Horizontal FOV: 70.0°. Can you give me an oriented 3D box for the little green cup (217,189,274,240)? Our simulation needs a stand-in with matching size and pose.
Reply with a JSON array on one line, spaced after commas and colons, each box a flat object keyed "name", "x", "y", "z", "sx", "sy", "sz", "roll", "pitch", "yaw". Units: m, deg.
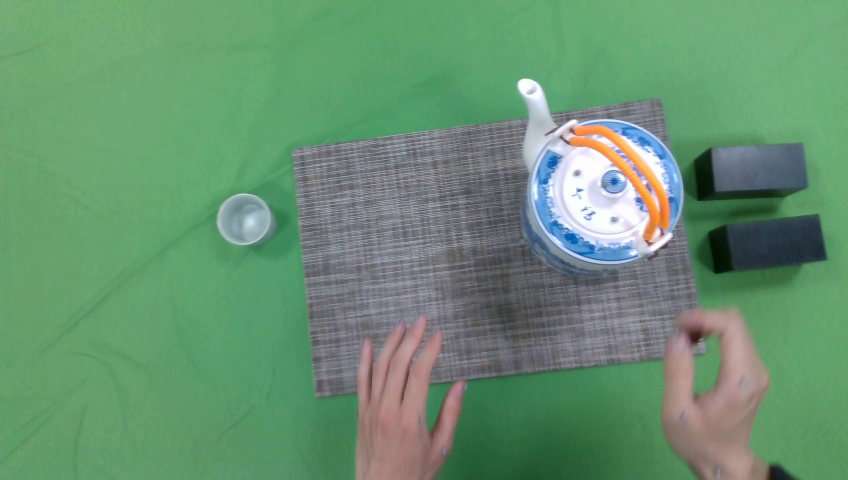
[{"name": "little green cup", "x": -0.210, "y": -0.028, "z": 0.721, "sx": 0.061, "sy": 0.039, "sz": 0.061, "roll": -1, "pitch": 82, "yaw": 4}]

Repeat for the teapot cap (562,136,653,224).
[{"name": "teapot cap", "x": 0.171, "y": -0.057, "z": 0.562, "sx": 0.085, "sy": 0.044, "sz": 0.085, "roll": -1, "pitch": 81, "yaw": 4}]

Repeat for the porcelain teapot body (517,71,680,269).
[{"name": "porcelain teapot body", "x": 0.154, "y": -0.073, "z": 0.605, "sx": 0.145, "sy": 0.226, "sz": 0.204, "roll": -39, "pitch": 81, "yaw": -1}]
